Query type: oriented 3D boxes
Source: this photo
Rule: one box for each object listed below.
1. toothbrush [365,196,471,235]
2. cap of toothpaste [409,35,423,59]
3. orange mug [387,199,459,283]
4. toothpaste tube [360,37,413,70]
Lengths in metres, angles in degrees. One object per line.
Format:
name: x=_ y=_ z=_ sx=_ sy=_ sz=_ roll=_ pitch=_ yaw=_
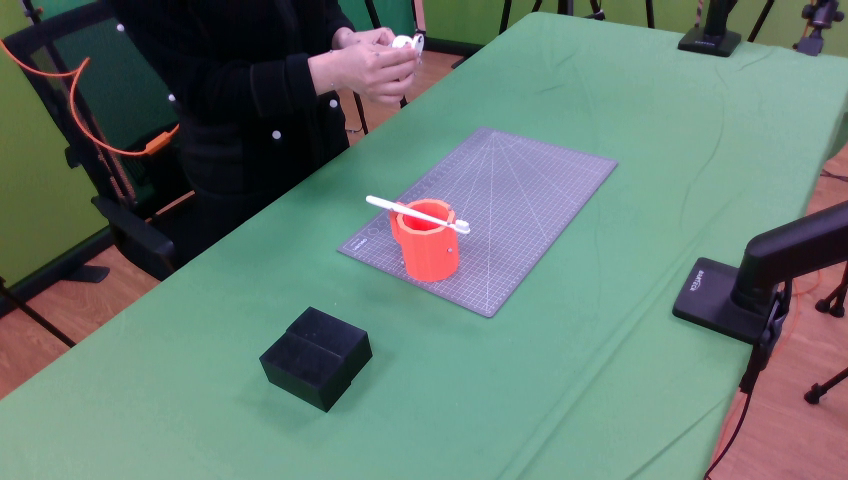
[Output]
toothbrush: x=-0.013 y=-0.039 z=0.880 sx=0.180 sy=0.017 sz=0.014 roll=18 pitch=50 yaw=27
cap of toothpaste: x=-0.012 y=-0.290 z=0.904 sx=0.011 sy=0.037 sz=0.037 roll=20 pitch=46 yaw=14
orange mug: x=-0.006 y=-0.007 z=0.922 sx=0.125 sy=0.101 sz=0.084 roll=32 pitch=54 yaw=32
toothpaste tube: x=-0.053 y=-0.296 z=0.983 sx=0.055 sy=0.034 sz=0.164 roll=0 pitch=3 yaw=-24
